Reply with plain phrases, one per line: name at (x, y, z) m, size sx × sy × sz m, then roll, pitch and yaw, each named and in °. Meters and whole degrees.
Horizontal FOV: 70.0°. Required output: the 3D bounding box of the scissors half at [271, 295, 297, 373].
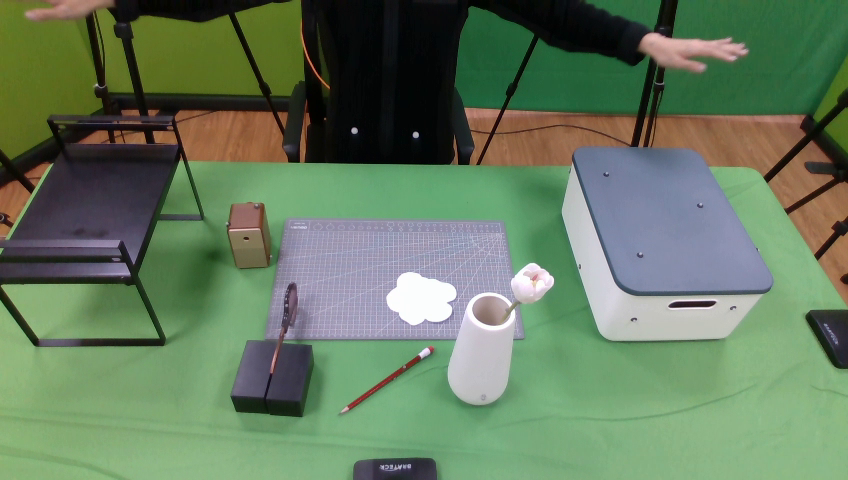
scissors half at (-0.230, 0.154, 1.000) m, size 0.013 × 0.040 × 0.174 m, roll 0°, pitch 34°, yaw 2°

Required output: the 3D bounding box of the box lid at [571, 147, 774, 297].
box lid at (0.424, -0.047, 1.074) m, size 0.263 × 0.015 × 0.369 m, roll -1°, pitch 47°, yaw -5°

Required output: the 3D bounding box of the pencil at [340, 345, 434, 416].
pencil at (-0.058, 0.228, 0.984) m, size 0.194 × 0.012 × 0.012 m, roll -32°, pitch 57°, yaw -28°

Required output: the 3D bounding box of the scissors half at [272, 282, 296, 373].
scissors half at (-0.229, 0.139, 0.986) m, size 0.013 × 0.040 × 0.174 m, roll 4°, pitch 51°, yaw -2°

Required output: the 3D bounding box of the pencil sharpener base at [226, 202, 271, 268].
pencil sharpener base at (-0.323, -0.010, 1.123) m, size 0.061 × 0.107 × 0.076 m, roll -3°, pitch 46°, yaw -7°

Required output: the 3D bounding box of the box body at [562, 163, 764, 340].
box body at (0.420, 0.003, 1.129) m, size 0.254 × 0.161 × 0.361 m, roll -1°, pitch 46°, yaw -5°

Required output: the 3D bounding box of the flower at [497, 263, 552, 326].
flower at (0.103, 0.121, 0.853) m, size 0.044 × 0.363 × 0.038 m, roll -2°, pitch 64°, yaw -10°

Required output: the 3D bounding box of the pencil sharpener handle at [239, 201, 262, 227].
pencil sharpener handle at (-0.325, -0.056, 1.149) m, size 0.036 × 0.068 × 0.030 m, roll -13°, pitch 46°, yaw 4°

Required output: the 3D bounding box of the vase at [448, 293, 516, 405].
vase at (0.091, 0.169, 0.921) m, size 0.098 × 0.201 × 0.097 m, roll 3°, pitch 47°, yaw -3°
